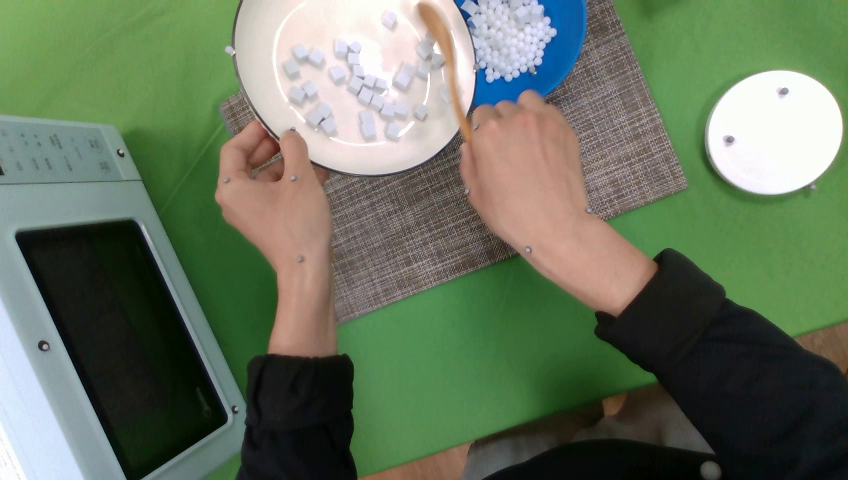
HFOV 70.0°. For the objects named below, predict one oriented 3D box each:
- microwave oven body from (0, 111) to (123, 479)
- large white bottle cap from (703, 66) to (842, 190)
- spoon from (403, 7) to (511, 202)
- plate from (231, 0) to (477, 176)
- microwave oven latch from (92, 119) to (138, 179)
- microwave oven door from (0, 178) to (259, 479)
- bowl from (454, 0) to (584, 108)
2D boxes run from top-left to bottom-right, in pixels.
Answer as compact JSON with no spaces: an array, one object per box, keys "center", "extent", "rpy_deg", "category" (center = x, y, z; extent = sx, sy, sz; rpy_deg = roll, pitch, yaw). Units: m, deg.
[{"center":[-0.469,0.122,0.705],"extent":[0.326,0.260,0.441],"rpy_deg":[-25,91,18],"category":"microwave oven body"},{"center":[0.325,-0.103,0.568],"extent":[0.114,0.018,0.115],"rpy_deg":[2,98,15],"category":"large white bottle cap"},{"center":[0.026,-0.113,0.502],"extent":[0.041,0.022,0.192],"rpy_deg":[-41,63,46],"category":"spoon"},{"center":[-0.057,-0.155,0.526],"extent":[0.210,0.038,0.208],"rpy_deg":[2,84,-18],"category":"plate"},{"center":[-0.388,-0.110,0.749],"extent":[0.030,0.029,0.079],"rpy_deg":[-24,91,18],"category":"microwave oven latch"},{"center":[-0.327,0.102,0.655],"extent":[0.039,0.244,0.355],"rpy_deg":[-25,90,18],"category":"microwave oven door"},{"center":[0.081,-0.202,0.590],"extent":[0.151,0.077,0.151],"rpy_deg":[2,99,17],"category":"bowl"}]
